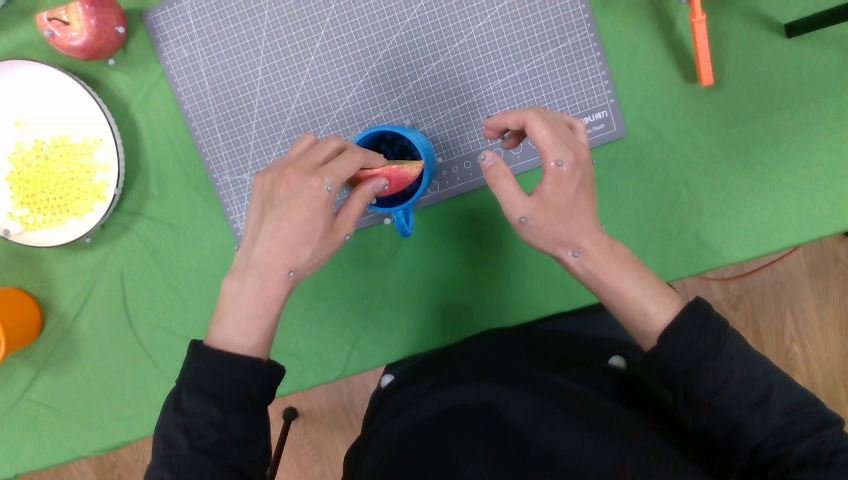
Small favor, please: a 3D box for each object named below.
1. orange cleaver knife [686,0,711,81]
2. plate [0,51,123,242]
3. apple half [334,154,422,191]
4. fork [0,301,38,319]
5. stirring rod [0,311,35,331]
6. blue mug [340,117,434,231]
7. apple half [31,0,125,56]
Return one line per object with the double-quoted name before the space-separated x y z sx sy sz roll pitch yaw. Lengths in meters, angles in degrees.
"orange cleaver knife" 0.248 -0.255 0.572 0.012 0.076 0.213 -15 127 16
"plate" -0.435 -0.103 0.680 0.209 0.038 0.210 1 103 5
"apple half" -0.040 -0.062 0.559 0.081 0.081 0.033 -2 103 5
"fork" -0.554 0.099 0.677 0.208 0.018 0.028 -11 104 -37
"stirring rod" -0.540 0.114 0.682 0.176 0.006 0.014 -19 91 -33
"blue mug" -0.031 -0.067 0.621 0.082 0.105 0.117 -11 101 7
"apple half" -0.352 -0.220 0.630 0.081 0.074 0.053 -15 104 4
